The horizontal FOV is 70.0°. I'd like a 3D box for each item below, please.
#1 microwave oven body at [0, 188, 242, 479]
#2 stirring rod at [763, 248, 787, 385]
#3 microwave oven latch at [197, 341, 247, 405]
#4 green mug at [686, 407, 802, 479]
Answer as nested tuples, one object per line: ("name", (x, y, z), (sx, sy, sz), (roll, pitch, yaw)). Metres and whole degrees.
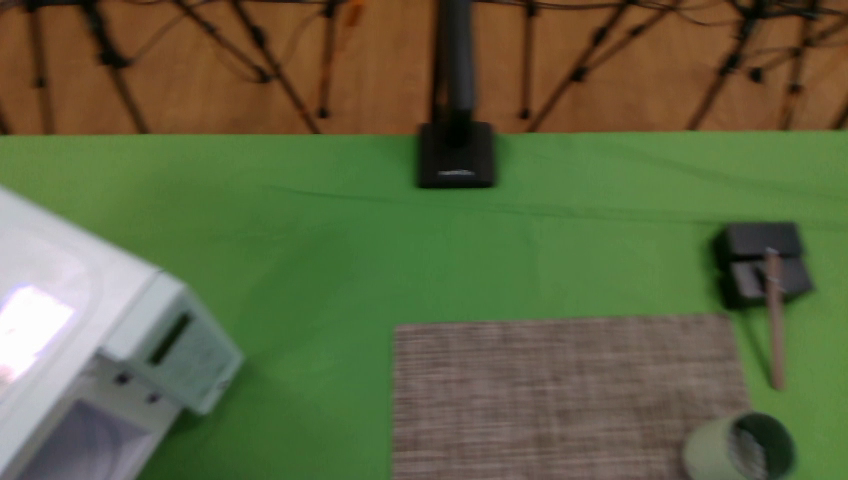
("microwave oven body", (-0.456, 0.196, 0.599), (0.325, 0.262, 0.439), (24, 66, 10))
("stirring rod", (0.449, 0.098, 0.775), (0.014, 0.006, 0.176), (-5, 88, 8))
("microwave oven latch", (-0.246, 0.156, 0.732), (0.030, 0.030, 0.079), (26, 67, 10))
("green mug", (0.366, 0.252, 0.678), (0.092, 0.105, 0.124), (-24, 67, -13))
